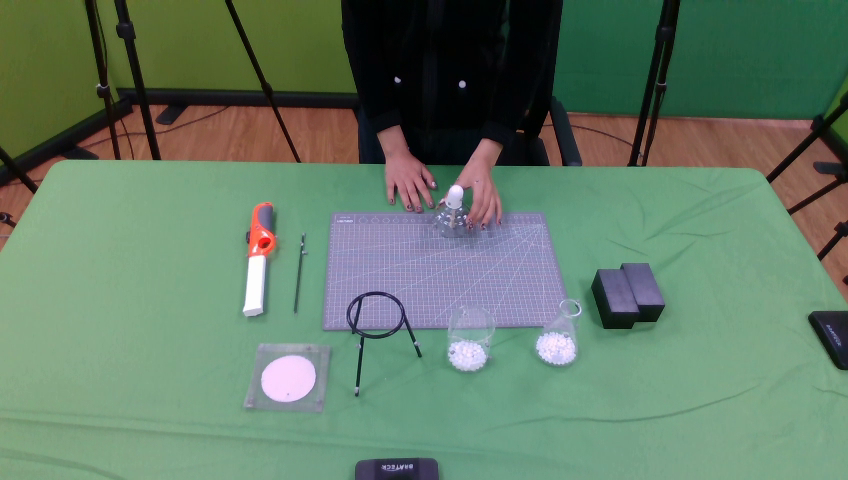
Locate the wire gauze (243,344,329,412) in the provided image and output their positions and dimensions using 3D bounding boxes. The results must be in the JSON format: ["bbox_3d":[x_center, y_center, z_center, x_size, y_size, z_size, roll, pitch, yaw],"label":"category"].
[{"bbox_3d":[-0.221,0.219,0.981,0.125,0.011,0.120,2,45,0],"label":"wire gauze"}]

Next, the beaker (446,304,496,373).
[{"bbox_3d":[0.072,0.166,0.992,0.084,0.101,0.073,-21,51,-22],"label":"beaker"}]

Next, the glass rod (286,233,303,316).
[{"bbox_3d":[-0.242,0.061,1.135,0.008,0.008,0.198,2,47,-2],"label":"glass rod"}]

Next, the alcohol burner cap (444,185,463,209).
[{"bbox_3d":[0.058,-0.085,1.170,0.034,0.048,0.033,5,51,-6],"label":"alcohol burner cap"}]

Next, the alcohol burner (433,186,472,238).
[{"bbox_3d":[0.057,-0.061,1.197,0.078,0.120,0.077,1,48,-1],"label":"alcohol burner"}]

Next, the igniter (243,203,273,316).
[{"bbox_3d":[-0.315,0.027,1.145,0.057,0.025,0.274,-10,47,0],"label":"igniter"}]

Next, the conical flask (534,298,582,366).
[{"bbox_3d":[0.229,0.149,1.005,0.075,0.122,0.075,2,46,-2],"label":"conical flask"}]

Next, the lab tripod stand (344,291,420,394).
[{"bbox_3d":[-0.075,0.155,0.967,0.148,0.132,0.147,3,44,-3],"label":"lab tripod stand"}]
